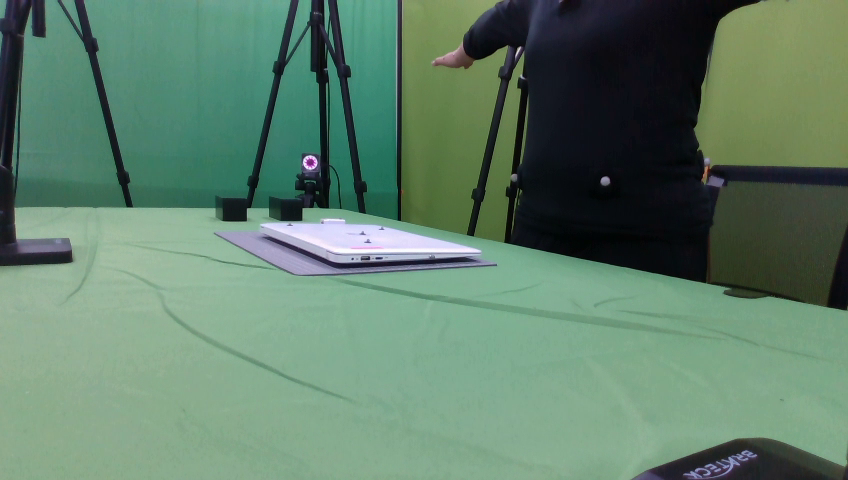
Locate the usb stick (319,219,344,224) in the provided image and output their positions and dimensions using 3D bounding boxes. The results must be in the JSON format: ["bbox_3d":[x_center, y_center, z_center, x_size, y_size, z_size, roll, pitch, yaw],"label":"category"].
[{"bbox_3d":[-0.184,-0.027,1.153,0.059,0.027,0.021,-5,14,-31],"label":"usb stick"}]

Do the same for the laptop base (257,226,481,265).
[{"bbox_3d":[-0.102,0.007,0.962,0.237,0.023,0.352,2,6,-32],"label":"laptop base"}]

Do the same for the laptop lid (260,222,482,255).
[{"bbox_3d":[-0.100,-0.005,0.962,0.243,0.013,0.355,1,7,-30],"label":"laptop lid"}]
